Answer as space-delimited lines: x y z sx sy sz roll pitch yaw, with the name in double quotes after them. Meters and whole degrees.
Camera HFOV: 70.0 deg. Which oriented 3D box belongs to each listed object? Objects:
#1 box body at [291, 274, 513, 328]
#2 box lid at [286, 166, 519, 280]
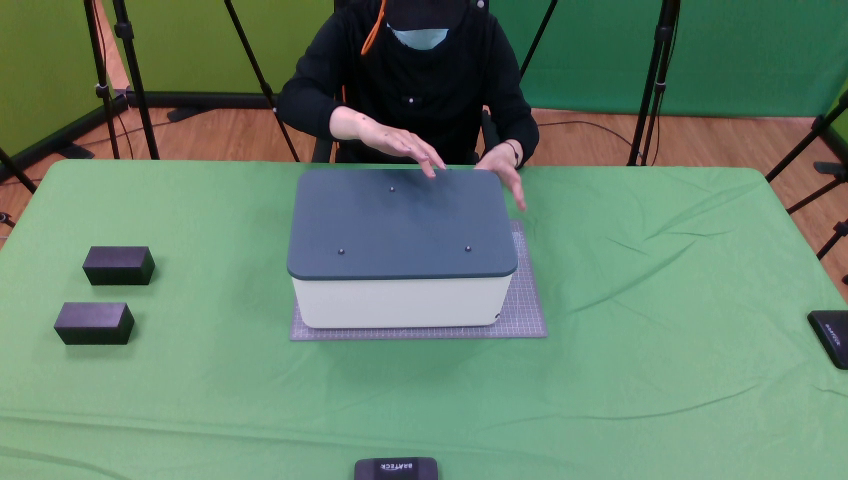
-0.040 0.015 1.075 0.364 0.161 0.252 -1 47 -4 "box body"
-0.034 -0.036 1.021 0.372 0.015 0.261 -1 46 -4 "box lid"
